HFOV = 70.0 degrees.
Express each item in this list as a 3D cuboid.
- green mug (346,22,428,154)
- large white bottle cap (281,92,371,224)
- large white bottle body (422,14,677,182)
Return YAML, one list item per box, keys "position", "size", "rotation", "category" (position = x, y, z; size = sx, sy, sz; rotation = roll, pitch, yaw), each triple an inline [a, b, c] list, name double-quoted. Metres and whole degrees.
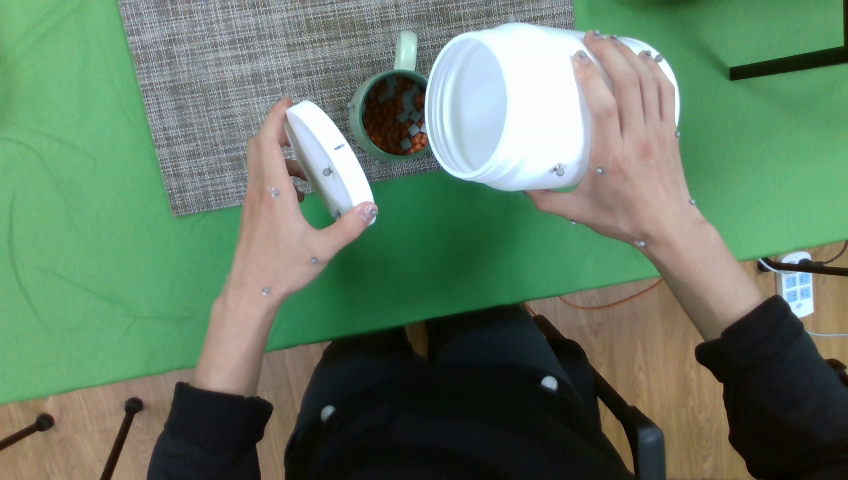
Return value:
- position: [-0.027, -0.145, 0.585]
  size: [0.093, 0.104, 0.125]
  rotation: [5, 100, -9]
  category: "green mug"
- position: [-0.081, -0.066, 0.502]
  size: [0.018, 0.114, 0.115]
  rotation: [-32, 104, -18]
  category: "large white bottle cap"
- position: [0.103, -0.116, 0.507]
  size: [0.185, 0.129, 0.131]
  rotation: [-7, 103, -33]
  category: "large white bottle body"
